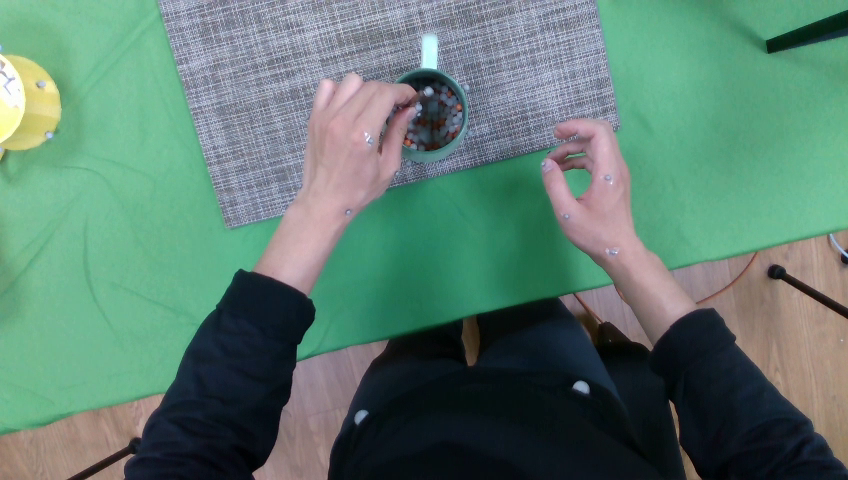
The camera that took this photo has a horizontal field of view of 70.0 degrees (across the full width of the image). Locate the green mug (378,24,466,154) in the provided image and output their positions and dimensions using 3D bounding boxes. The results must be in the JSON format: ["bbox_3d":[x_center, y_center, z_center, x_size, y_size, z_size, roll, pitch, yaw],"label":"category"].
[{"bbox_3d":[-0.001,-0.150,0.608,0.092,0.104,0.125,2,98,-2],"label":"green mug"}]

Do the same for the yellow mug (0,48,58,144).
[{"bbox_3d":[-0.445,-0.133,0.616,0.100,0.064,0.131,18,98,-5],"label":"yellow mug"}]

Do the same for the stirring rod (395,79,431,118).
[{"bbox_3d":[-0.013,-0.128,0.560,0.014,0.175,0.006,-15,95,-7],"label":"stirring rod"}]
